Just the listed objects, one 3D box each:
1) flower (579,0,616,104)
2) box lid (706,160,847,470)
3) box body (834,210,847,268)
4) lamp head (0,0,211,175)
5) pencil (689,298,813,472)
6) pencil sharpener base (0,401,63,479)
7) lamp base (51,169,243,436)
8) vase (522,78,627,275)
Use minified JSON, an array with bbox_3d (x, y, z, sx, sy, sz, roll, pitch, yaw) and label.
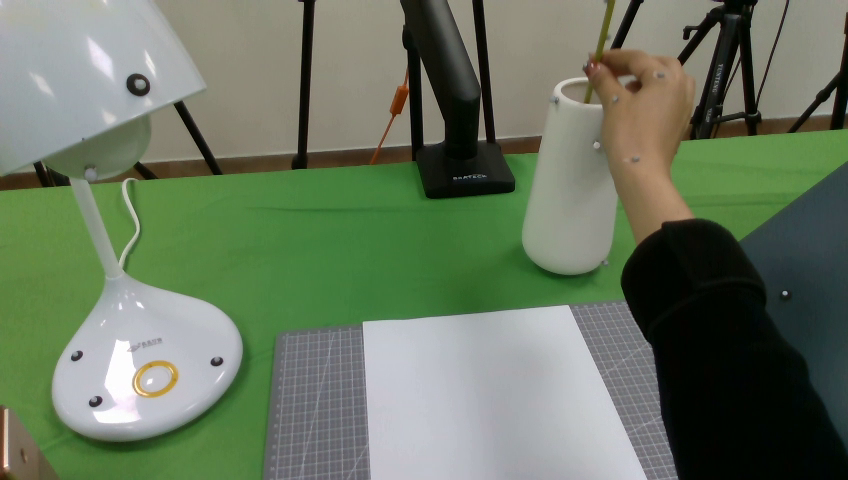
[{"bbox_3d":[0.146,-0.133,0.543,0.044,0.365,0.038,-2,58,-1],"label":"flower"},{"bbox_3d":[0.413,0.064,0.470,0.015,0.263,0.367,34,25,-30],"label":"box lid"},{"bbox_3d":[0.594,0.043,0.525,0.254,0.162,0.360,-5,38,-5],"label":"box body"},{"bbox_3d":[-0.188,-0.107,0.303,0.112,0.123,0.112,-24,16,8],"label":"lamp head"},{"bbox_3d":[0.287,0.120,0.543,0.012,0.012,0.192,-5,39,-7],"label":"pencil"},{"bbox_3d":[-0.293,0.171,0.397,0.077,0.108,0.060,-19,42,-22],"label":"pencil sharpener base"},{"bbox_3d":[-0.254,0.042,0.507,0.161,0.182,0.177,-26,42,-30],"label":"lamp base"},{"bbox_3d":[0.156,-0.061,0.629,0.098,0.202,0.097,-1,37,1],"label":"vase"}]
